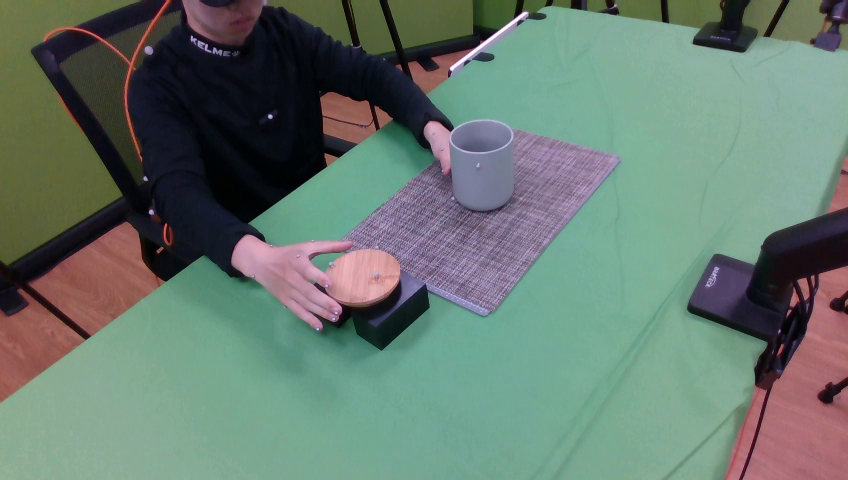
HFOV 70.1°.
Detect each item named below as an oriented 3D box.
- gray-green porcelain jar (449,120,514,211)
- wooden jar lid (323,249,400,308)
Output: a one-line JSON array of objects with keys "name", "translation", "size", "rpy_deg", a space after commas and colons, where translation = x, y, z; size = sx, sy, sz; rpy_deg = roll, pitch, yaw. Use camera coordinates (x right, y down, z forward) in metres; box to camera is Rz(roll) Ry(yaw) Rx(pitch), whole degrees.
[{"name": "gray-green porcelain jar", "translation": [0.097, -0.120, 1.008], "size": [0.106, 0.127, 0.105], "rpy_deg": [-4, 41, 4]}, {"name": "wooden jar lid", "translation": [-0.086, 0.055, 0.841], "size": [0.108, 0.021, 0.108], "rpy_deg": [-5, 40, 4]}]
